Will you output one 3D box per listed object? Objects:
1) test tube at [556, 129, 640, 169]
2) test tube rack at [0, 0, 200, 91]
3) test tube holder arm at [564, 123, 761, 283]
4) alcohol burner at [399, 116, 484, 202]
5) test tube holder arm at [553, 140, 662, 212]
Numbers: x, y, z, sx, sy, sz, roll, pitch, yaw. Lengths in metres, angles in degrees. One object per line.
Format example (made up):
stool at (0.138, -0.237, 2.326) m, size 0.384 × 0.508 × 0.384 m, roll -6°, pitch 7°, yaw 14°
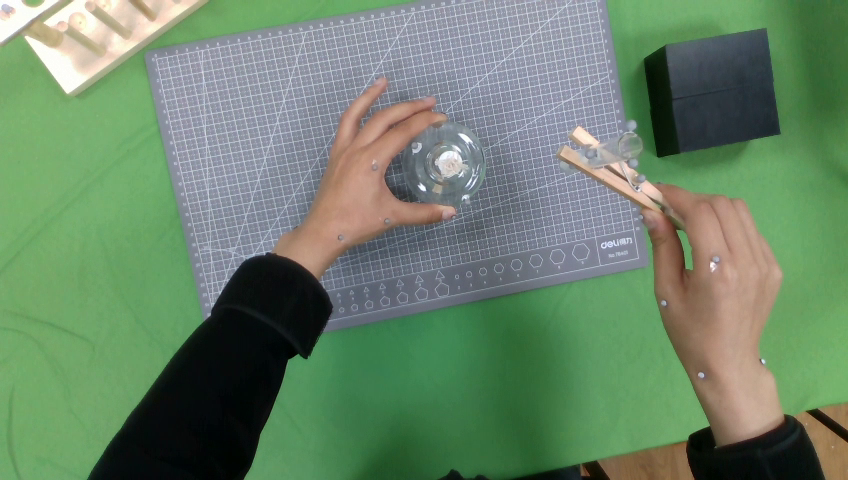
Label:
test tube at (0.114, -0.060, 0.416) m, size 0.017 × 0.150 × 0.017 m, roll 0°, pitch 94°, yaw -1°
test tube rack at (-0.255, -0.236, 0.534) m, size 0.242 × 0.085 × 0.067 m, roll -36°, pitch 94°, yaw -1°
test tube holder arm at (0.172, -0.025, 0.432) m, size 0.179 × 0.015 × 0.013 m, roll 35°, pitch 98°, yaw -7°
alcohol burner at (0.017, -0.072, 0.536) m, size 0.078 × 0.119 × 0.078 m, roll 0°, pitch 96°, yaw -3°
test tube holder arm at (0.131, -0.045, 0.427) m, size 0.088 × 0.015 × 0.010 m, roll 29°, pitch 98°, yaw -6°
